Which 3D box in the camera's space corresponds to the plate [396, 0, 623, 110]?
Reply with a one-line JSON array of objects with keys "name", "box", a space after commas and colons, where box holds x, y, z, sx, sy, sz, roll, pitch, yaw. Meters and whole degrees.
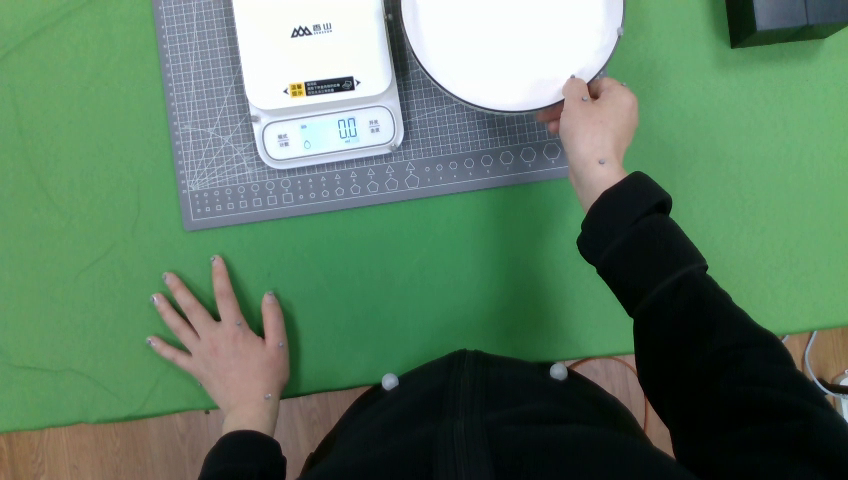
[{"name": "plate", "box": [0.078, -0.221, 0.569, 0.209, 0.038, 0.208, 0, 87, -1]}]

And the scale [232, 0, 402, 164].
[{"name": "scale", "box": [-0.107, -0.184, 0.605, 0.149, 0.031, 0.201, -9, 90, 0]}]
